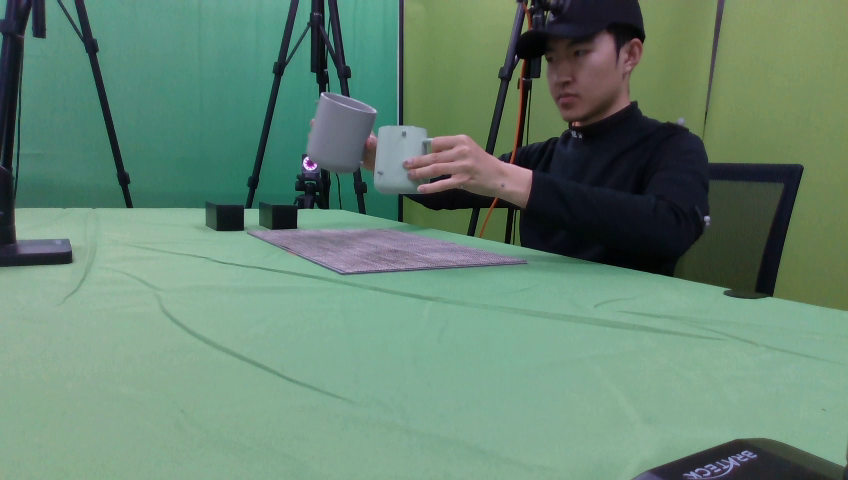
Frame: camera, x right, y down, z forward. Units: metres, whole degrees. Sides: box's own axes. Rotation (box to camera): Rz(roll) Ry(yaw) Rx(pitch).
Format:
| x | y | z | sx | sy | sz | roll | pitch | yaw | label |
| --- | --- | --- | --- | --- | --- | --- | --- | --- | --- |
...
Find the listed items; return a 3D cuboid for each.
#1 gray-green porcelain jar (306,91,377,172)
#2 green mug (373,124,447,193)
| x | y | z | sx | sy | sz | roll | pitch | yaw | label |
| --- | --- | --- | --- | --- | --- | --- | --- | --- | --- |
| -0.155 | -0.197 | 1.116 | 0.106 | 0.126 | 0.105 | 18 | 18 | -6 | gray-green porcelain jar |
| -0.021 | -0.129 | 0.968 | 0.125 | 0.105 | 0.093 | 3 | 4 | 28 | green mug |
